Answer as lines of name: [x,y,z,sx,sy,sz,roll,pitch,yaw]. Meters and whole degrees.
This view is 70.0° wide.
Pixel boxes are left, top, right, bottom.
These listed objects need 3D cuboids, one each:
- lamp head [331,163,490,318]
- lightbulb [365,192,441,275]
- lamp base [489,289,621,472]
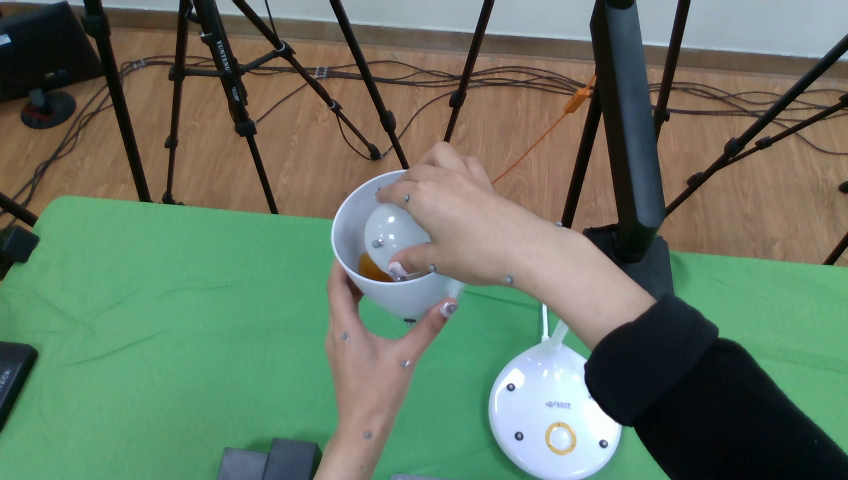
lamp head: [-0.004,0.013,0.513,0.112,0.124,0.111,-9,55,13]
lightbulb: [-0.013,0.004,0.490,0.059,0.108,0.059,-4,61,7]
lamp base: [0.157,0.148,0.684,0.161,0.182,0.177,-6,55,-4]
